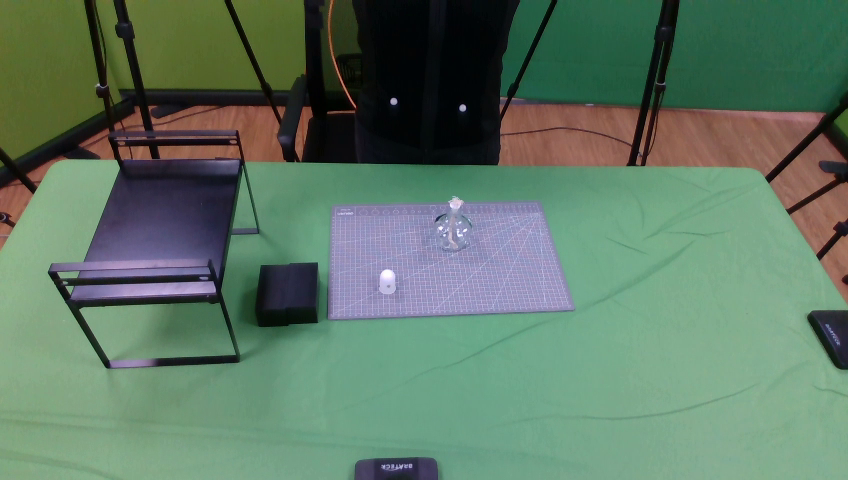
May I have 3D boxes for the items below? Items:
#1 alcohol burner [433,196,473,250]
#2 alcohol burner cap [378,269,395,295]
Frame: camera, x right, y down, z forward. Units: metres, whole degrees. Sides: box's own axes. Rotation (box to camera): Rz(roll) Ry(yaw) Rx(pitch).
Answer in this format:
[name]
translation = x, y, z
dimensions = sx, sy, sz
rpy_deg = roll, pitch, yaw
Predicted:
[alcohol burner]
translation = 0.058, -0.038, 1.169
dimensions = 0.078, 0.119, 0.077
rpy_deg = 3, 45, -3
[alcohol burner cap]
translation = -0.068, 0.073, 1.103
dimensions = 0.034, 0.048, 0.033
rpy_deg = 3, 46, -3
